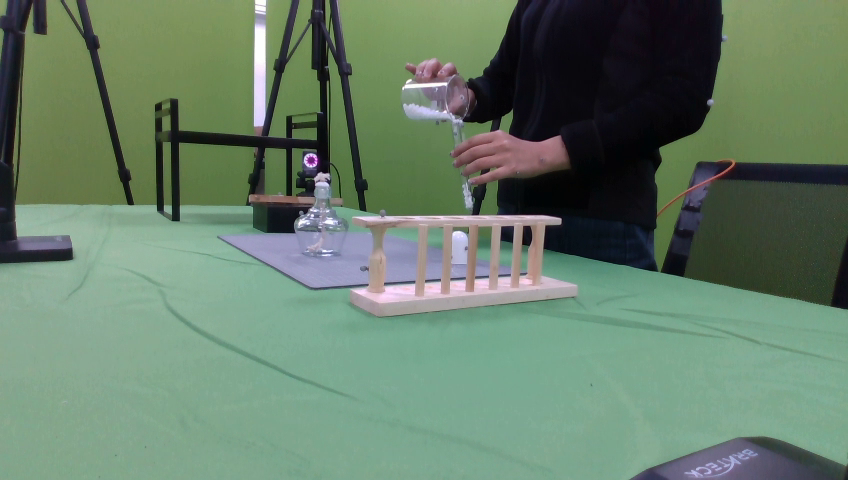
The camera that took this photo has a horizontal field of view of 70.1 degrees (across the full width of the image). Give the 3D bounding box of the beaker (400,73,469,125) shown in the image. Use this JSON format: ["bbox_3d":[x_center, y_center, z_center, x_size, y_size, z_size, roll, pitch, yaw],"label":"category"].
[{"bbox_3d":[0.016,-0.237,1.026,0.100,0.084,0.074,6,9,35],"label":"beaker"}]

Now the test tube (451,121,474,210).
[{"bbox_3d":[0.063,-0.123,0.998,0.017,0.150,0.017,-9,-5,-1],"label":"test tube"}]

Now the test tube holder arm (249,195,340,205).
[{"bbox_3d":[-0.247,-0.077,1.169,0.179,0.015,0.013,-1,10,-31],"label":"test tube holder arm"}]

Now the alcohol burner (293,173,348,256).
[{"bbox_3d":[-0.147,-0.036,0.859,0.078,0.119,0.078,4,8,0],"label":"alcohol burner"}]

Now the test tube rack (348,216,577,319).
[{"bbox_3d":[0.048,0.021,0.619,0.244,0.085,0.066,-2,9,-31],"label":"test tube rack"}]

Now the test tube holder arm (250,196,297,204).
[{"bbox_3d":[-0.284,-0.076,1.141,0.088,0.015,0.010,0,10,-29],"label":"test tube holder arm"}]

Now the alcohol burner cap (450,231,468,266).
[{"bbox_3d":[0.046,0.011,0.838,0.034,0.048,0.034,3,7,0],"label":"alcohol burner cap"}]
